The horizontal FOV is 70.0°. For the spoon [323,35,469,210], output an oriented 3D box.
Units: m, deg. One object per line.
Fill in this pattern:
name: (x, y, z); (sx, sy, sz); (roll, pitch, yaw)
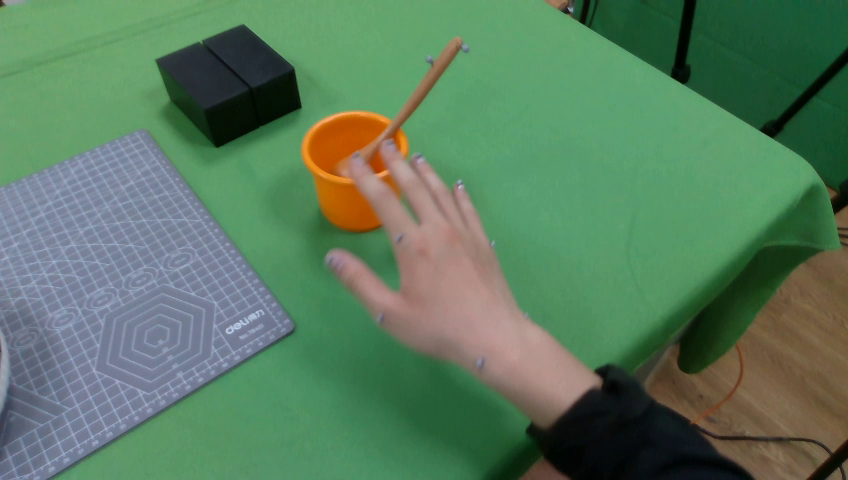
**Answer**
spoon: (-0.028, -0.100, 0.529); (0.194, 0.022, 0.041); (-45, 56, 15)

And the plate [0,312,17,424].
plate: (-0.389, 0.119, 0.415); (0.209, 0.038, 0.207); (2, 52, -2)
